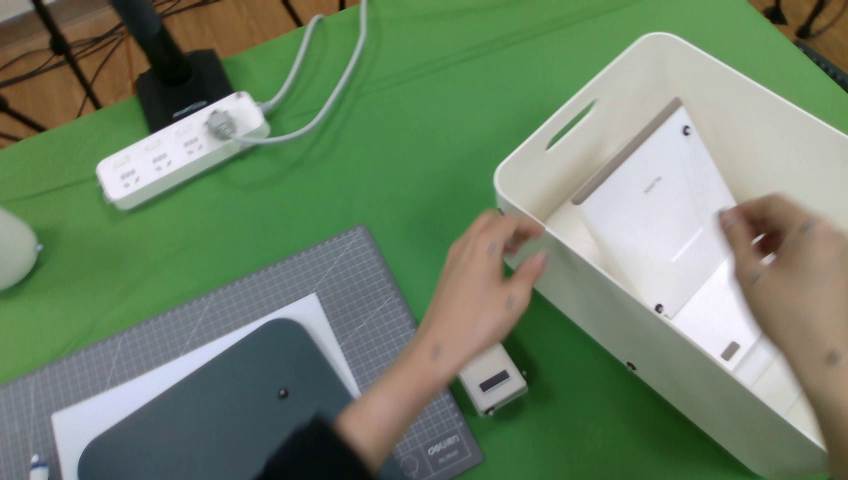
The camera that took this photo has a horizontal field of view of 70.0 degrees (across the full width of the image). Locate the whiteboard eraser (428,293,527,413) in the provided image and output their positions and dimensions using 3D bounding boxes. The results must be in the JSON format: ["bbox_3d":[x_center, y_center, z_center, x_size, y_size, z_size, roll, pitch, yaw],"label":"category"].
[{"bbox_3d":[0.053,0.113,0.612,0.055,0.042,0.111,-27,64,-11],"label":"whiteboard eraser"}]

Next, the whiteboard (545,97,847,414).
[{"bbox_3d":[0.273,0.004,0.591,0.217,0.145,0.303,-42,66,-16],"label":"whiteboard"}]

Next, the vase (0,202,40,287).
[{"bbox_3d":[-0.509,-0.023,0.640,0.098,0.202,0.097,-3,63,5],"label":"vase"}]

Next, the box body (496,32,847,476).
[{"bbox_3d":[0.275,0.009,0.577,0.254,0.162,0.361,-42,67,-16],"label":"box body"}]

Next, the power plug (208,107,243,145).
[{"bbox_3d":[-0.240,-0.131,0.741,0.035,0.053,0.072,-20,69,-6],"label":"power plug"}]

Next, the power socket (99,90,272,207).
[{"bbox_3d":[-0.298,-0.118,0.764,0.227,0.033,0.071,-29,65,-11],"label":"power socket"}]

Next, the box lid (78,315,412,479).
[{"bbox_3d":[-0.143,0.268,0.565,0.263,0.015,0.368,-35,66,-13],"label":"box lid"}]

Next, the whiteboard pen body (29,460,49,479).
[{"bbox_3d":[-0.360,0.278,0.569,0.017,0.017,0.139,-17,65,-4],"label":"whiteboard pen body"}]
